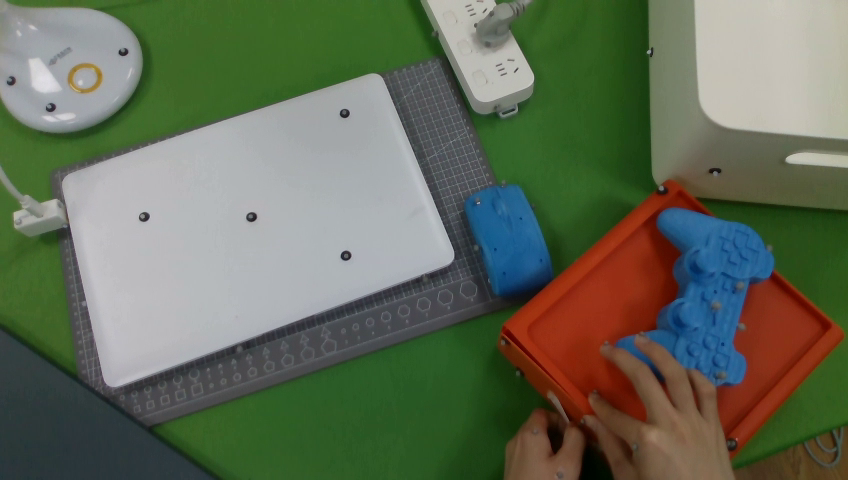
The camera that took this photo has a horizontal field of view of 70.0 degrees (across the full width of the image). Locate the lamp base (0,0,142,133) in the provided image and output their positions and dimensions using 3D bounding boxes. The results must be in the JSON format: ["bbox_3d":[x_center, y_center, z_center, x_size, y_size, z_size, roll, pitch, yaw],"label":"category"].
[{"bbox_3d":[-0.413,-0.224,0.614,0.178,0.181,0.160,29,74,14],"label":"lamp base"}]

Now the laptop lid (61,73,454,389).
[{"bbox_3d":[-0.172,-0.021,0.611,0.357,0.013,0.240,-19,74,-5],"label":"laptop lid"}]

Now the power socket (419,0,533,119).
[{"bbox_3d":[0.051,-0.239,0.685,0.072,0.033,0.225,-20,72,-7],"label":"power socket"}]

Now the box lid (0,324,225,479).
[{"bbox_3d":[-0.359,0.260,0.537,0.370,0.015,0.262,29,75,10],"label":"box lid"}]

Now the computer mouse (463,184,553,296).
[{"bbox_3d":[0.082,-0.004,0.598,0.063,0.041,0.116,-15,67,-2],"label":"computer mouse"}]

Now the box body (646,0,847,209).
[{"bbox_3d":[0.364,-0.222,0.601,0.254,0.161,0.362,5,71,3],"label":"box body"}]

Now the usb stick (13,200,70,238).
[{"bbox_3d":[-0.380,-0.023,0.616,0.059,0.027,0.021,-17,67,-7],"label":"usb stick"}]

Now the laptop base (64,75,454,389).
[{"bbox_3d":[-0.172,-0.019,0.623,0.354,0.023,0.234,-20,75,-5],"label":"laptop base"}]

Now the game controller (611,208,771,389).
[{"bbox_3d":[0.225,0.048,0.502,0.097,0.052,0.154,23,74,6],"label":"game controller"}]

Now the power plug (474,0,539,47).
[{"bbox_3d":[0.090,-0.229,0.656,0.072,0.053,0.035,-10,69,-3],"label":"power plug"}]

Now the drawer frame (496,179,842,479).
[{"bbox_3d":[0.208,0.088,0.543,0.213,0.083,0.200,-40,74,-12],"label":"drawer frame"}]

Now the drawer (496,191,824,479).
[{"bbox_3d":[0.205,0.093,0.542,0.211,0.074,0.193,-40,74,-12],"label":"drawer"}]
